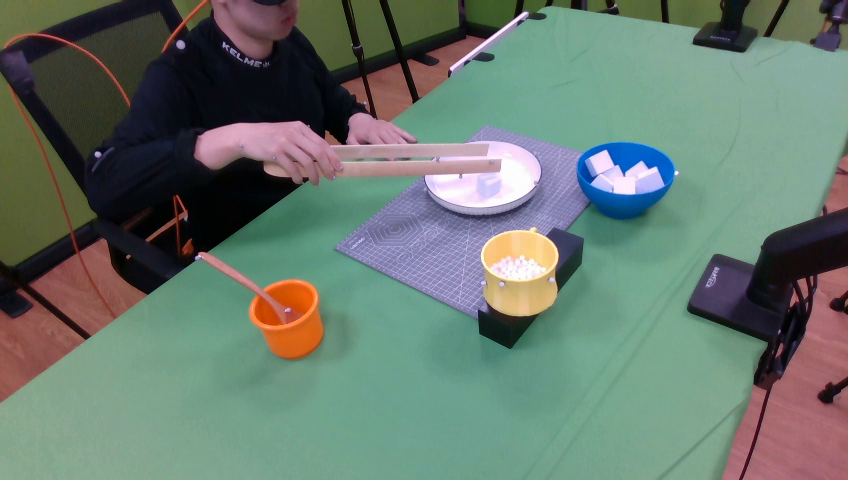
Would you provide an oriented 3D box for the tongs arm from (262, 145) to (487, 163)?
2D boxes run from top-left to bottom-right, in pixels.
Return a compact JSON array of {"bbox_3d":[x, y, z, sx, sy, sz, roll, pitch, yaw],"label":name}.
[{"bbox_3d":[-0.070,-0.139,0.996,0.390,0.028,0.028,-5,36,-21],"label":"tongs arm"}]

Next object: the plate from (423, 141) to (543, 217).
[{"bbox_3d":[0.103,-0.103,1.059,0.207,0.039,0.206,-4,40,4],"label":"plate"}]

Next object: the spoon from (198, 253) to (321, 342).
[{"bbox_3d":[-0.220,0.075,0.814,0.021,0.194,0.041,-38,18,37],"label":"spoon"}]

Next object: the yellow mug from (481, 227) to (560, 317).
[{"bbox_3d":[0.131,0.032,0.801,0.099,0.064,0.131,12,43,20],"label":"yellow mug"}]

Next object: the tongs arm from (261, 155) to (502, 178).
[{"bbox_3d":[-0.059,-0.121,0.965,0.387,0.026,0.050,-5,32,-21],"label":"tongs arm"}]

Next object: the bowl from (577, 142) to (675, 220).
[{"bbox_3d":[0.322,-0.086,0.980,0.151,0.077,0.150,-4,40,4],"label":"bowl"}]
